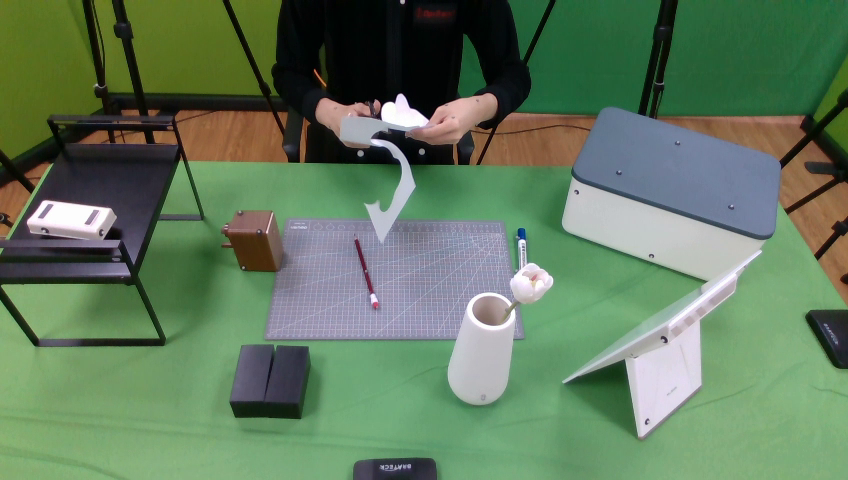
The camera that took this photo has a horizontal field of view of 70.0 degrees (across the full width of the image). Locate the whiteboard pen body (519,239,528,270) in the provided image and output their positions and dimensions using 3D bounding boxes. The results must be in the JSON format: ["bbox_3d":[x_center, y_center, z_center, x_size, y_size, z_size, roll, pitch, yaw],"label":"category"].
[{"bbox_3d":[0.193,0.035,1.181,0.017,0.017,0.140,6,48,1],"label":"whiteboard pen body"}]

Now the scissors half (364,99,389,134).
[{"bbox_3d":[-0.083,-0.211,1.052,0.013,0.040,0.174,-13,30,-13],"label":"scissors half"}]

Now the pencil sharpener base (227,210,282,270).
[{"bbox_3d":[-0.311,0.001,1.112,0.077,0.107,0.061,1,47,1],"label":"pencil sharpener base"}]

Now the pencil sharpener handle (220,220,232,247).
[{"bbox_3d":[-0.362,-0.009,1.105,0.030,0.068,0.036,1,53,1],"label":"pencil sharpener handle"}]

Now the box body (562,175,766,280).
[{"bbox_3d":[0.486,-0.088,1.222,0.363,0.161,0.253,20,48,15],"label":"box body"}]

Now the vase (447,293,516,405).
[{"bbox_3d":[0.091,0.168,0.921,0.098,0.201,0.097,3,47,-3],"label":"vase"}]

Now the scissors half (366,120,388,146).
[{"bbox_3d":[-0.081,-0.190,1.058,0.013,0.040,0.175,-8,3,-14],"label":"scissors half"}]

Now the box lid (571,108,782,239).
[{"bbox_3d":[0.491,-0.139,1.168,0.370,0.015,0.262,21,49,15],"label":"box lid"}]

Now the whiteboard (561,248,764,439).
[{"bbox_3d":[0.386,0.176,0.905,0.217,0.306,0.143,-26,72,-27],"label":"whiteboard"}]

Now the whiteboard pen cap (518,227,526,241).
[{"bbox_3d":[0.197,-0.009,1.220,0.018,0.018,0.033,5,51,1],"label":"whiteboard pen cap"}]

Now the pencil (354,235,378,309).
[{"bbox_3d":[-0.113,0.055,1.143,0.012,0.012,0.192,-10,46,-13],"label":"pencil"}]

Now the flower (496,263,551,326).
[{"bbox_3d":[0.102,0.121,0.852,0.044,0.363,0.038,-2,64,-10],"label":"flower"}]

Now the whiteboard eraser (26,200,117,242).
[{"bbox_3d":[-0.532,-0.026,0.919,0.113,0.042,0.055,7,45,3],"label":"whiteboard eraser"}]
